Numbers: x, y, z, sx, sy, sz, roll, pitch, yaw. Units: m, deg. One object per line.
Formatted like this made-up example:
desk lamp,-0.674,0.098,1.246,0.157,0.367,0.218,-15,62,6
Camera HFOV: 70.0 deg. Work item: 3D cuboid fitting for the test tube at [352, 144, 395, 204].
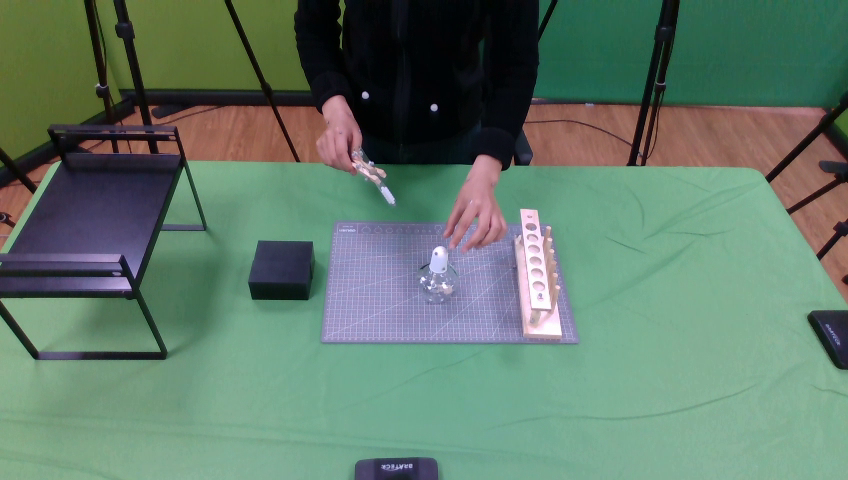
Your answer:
test tube,-0.086,-0.113,1.070,0.017,0.151,0.017,-14,49,17

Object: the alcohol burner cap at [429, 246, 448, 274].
alcohol burner cap,0.028,0.032,1.052,0.034,0.048,0.033,4,41,-3

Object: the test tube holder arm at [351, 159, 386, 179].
test tube holder arm,-0.102,-0.127,1.081,0.087,0.015,0.010,22,58,37

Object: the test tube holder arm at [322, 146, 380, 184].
test tube holder arm,-0.137,-0.140,1.108,0.013,0.015,0.177,-41,46,-20

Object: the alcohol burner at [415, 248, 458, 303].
alcohol burner,0.024,0.057,1.078,0.078,0.119,0.077,3,44,-2

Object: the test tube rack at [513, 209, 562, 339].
test tube rack,0.212,0.056,1.113,0.067,0.085,0.241,3,46,-1
